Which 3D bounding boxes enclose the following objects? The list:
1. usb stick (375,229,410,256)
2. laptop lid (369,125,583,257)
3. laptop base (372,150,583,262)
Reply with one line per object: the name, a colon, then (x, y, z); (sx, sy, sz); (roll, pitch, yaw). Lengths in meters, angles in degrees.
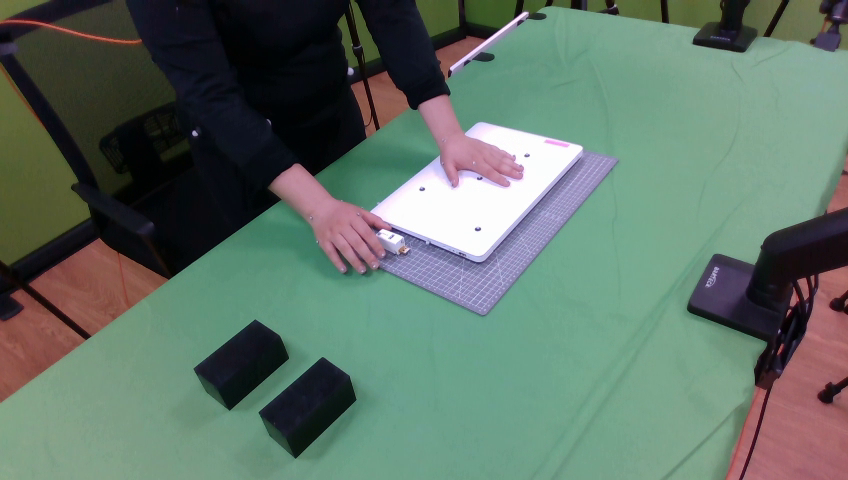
usb stick: (-0.049, 0.006, 0.962); (0.059, 0.027, 0.021); (25, 47, 29)
laptop lid: (0.098, -0.104, 1.066); (0.239, 0.013, 0.358); (21, 47, 34)
laptop base: (0.101, -0.096, 1.071); (0.233, 0.023, 0.355); (19, 47, 33)
